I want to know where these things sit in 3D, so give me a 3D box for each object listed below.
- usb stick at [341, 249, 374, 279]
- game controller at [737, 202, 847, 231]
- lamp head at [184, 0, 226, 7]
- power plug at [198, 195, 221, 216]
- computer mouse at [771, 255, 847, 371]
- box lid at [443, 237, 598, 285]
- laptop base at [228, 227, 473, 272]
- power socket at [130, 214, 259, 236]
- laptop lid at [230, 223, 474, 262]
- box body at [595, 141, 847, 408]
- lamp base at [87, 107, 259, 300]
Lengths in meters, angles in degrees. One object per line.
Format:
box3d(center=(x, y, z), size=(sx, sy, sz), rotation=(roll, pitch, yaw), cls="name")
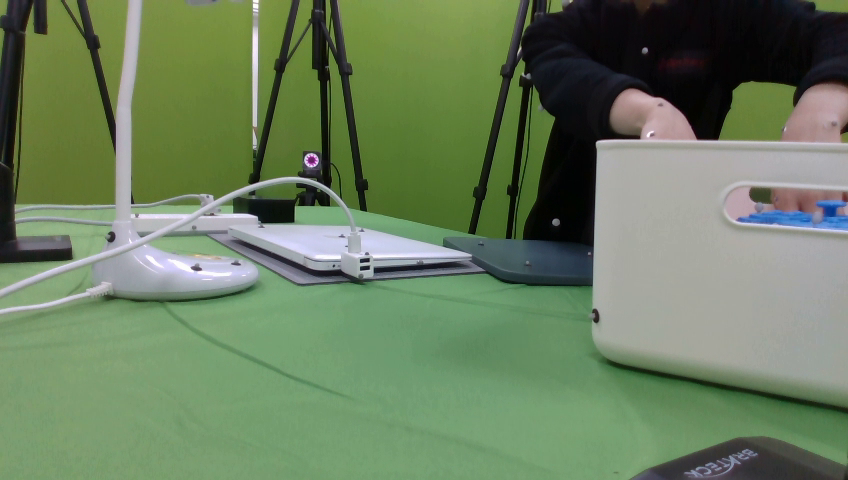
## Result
box3d(center=(-0.078, 0.026, 0.686), size=(0.021, 0.027, 0.059), rotation=(-8, 8, -30), cls="usb stick")
box3d(center=(0.292, 0.001, 0.426), size=(0.097, 0.051, 0.155), rotation=(0, 7, 5), cls="game controller")
box3d(center=(-0.229, -0.320, 0.627), size=(0.112, 0.112, 0.123), rotation=(6, -36, 26), cls="lamp head")
box3d(center=(-0.386, -0.055, 1.088), size=(0.035, 0.052, 0.072), rotation=(-2, 7, -24), cls="power plug")
box3d(center=(0.345, 0.057, 0.519), size=(0.063, 0.041, 0.117), rotation=(12, 47, 4), cls="computer mouse")
box3d(center=(0.191, 0.028, 0.904), size=(0.264, 0.015, 0.370), rotation=(2, 7, -12), cls="box lid")
box3d(center=(-0.123, 0.012, 0.889), size=(0.237, 0.023, 0.352), rotation=(2, 6, -35), cls="laptop base")
box3d(center=(-0.397, -0.028, 1.048), size=(0.228, 0.032, 0.072), rotation=(-3, 7, -35), cls="power socket")
box3d(center=(-0.121, 0.000, 0.888), size=(0.243, 0.013, 0.355), rotation=(1, 7, -33), cls="laptop lid")
box3d(center=(0.309, 0.007, 0.510), size=(0.253, 0.160, 0.366), rotation=(6, 8, 29), cls="box body")
box3d(center=(-0.254, -0.039, 0.603), size=(0.160, 0.180, 0.179), rotation=(5, 10, 18), cls="lamp base")
